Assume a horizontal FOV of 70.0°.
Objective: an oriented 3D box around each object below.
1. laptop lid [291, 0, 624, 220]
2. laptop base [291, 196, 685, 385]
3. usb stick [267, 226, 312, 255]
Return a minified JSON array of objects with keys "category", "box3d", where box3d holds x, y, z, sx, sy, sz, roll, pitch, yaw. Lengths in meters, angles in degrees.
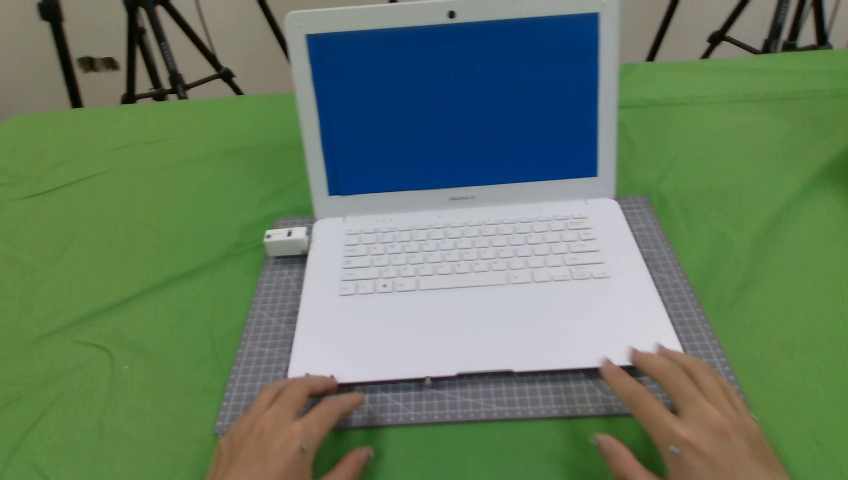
[{"category":"laptop lid","box3d":[0.042,-0.142,0.671,0.357,0.243,0.013,-5,19,1]},{"category":"laptop base","box3d":[0.053,0.044,0.622,0.354,0.023,0.233,-4,43,1]},{"category":"usb stick","box3d":[-0.142,0.000,0.675,0.059,0.027,0.021,-1,39,0]}]
